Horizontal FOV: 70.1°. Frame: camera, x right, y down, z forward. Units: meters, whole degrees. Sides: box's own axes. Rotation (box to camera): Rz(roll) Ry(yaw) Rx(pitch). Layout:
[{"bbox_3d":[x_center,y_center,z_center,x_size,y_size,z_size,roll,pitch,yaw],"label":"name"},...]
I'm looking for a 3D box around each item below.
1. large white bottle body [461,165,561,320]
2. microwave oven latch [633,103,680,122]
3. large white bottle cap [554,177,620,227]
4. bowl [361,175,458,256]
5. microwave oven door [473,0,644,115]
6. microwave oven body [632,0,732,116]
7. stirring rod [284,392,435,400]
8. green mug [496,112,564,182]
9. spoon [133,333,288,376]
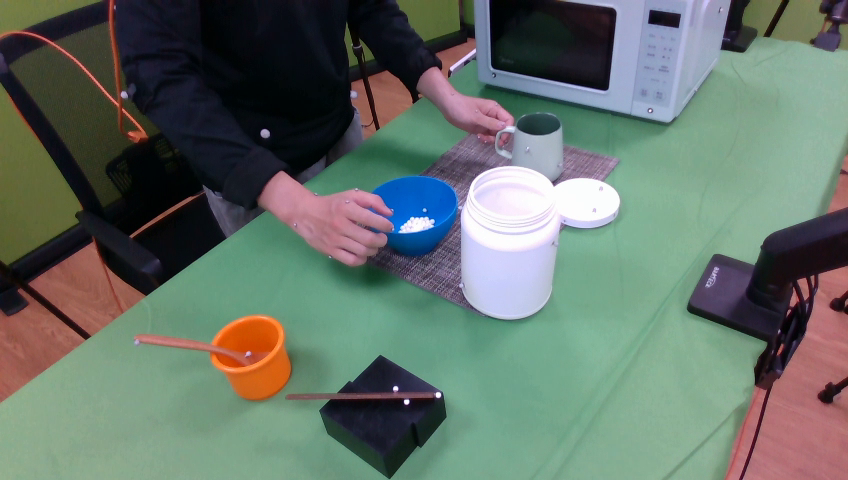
[{"bbox_3d":[0.115,0.004,0.815,0.130,0.185,0.130,-2,43,2],"label":"large white bottle body"},{"bbox_3d":[0.443,-0.249,1.157,0.078,0.029,0.030,21,49,30],"label":"microwave oven latch"},{"bbox_3d":[0.265,-0.064,1.000,0.115,0.018,0.114,-1,43,2],"label":"large white bottle cap"},{"bbox_3d":[-0.019,-0.028,0.955,0.151,0.077,0.150,-4,40,4],"label":"bowl"},{"bbox_3d":[0.257,-0.396,1.199,0.353,0.245,0.039,21,48,29],"label":"microwave oven door"},{"bbox_3d":[0.377,-0.463,1.267,0.438,0.261,0.327,21,49,30],"label":"microwave oven body"},{"bbox_3d":[-0.075,0.180,0.698,0.176,0.006,0.014,-2,6,7],"label":"stirring rod"},{"bbox_3d":[0.184,-0.161,1.061,0.124,0.105,0.092,15,46,24],"label":"green mug"},{"bbox_3d":[-0.257,0.137,0.747,0.021,0.195,0.041,-47,40,23],"label":"spoon"}]
